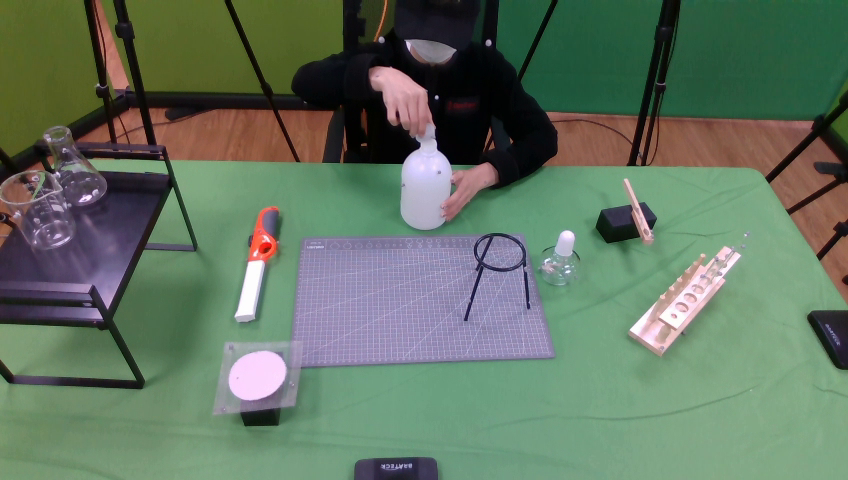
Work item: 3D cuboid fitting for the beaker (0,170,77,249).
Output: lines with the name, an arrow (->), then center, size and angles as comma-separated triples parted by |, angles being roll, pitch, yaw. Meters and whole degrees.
beaker -> -0.562, -0.042, 0.894 | 0.084, 0.101, 0.073 | -2, 47, -7

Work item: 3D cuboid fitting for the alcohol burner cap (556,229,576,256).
alcohol burner cap -> 0.260, 0.002, 1.098 | 0.034, 0.048, 0.033 | 3, 40, -2

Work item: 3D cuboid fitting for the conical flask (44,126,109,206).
conical flask -> -0.554, -0.119, 0.953 | 0.075, 0.122, 0.075 | 2, 46, -2

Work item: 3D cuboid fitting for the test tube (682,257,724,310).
test tube -> 0.475, 0.080, 1.037 | 0.017, 0.151, 0.017 | 2, 51, -2

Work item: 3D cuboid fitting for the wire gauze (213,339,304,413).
wire gauze -> -0.250, 0.203, 0.925 | 0.121, 0.011, 0.124 | -1, 46, -3

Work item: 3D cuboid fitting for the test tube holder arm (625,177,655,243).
test tube holder arm -> 0.433, -0.063, 1.220 | 0.013, 0.015, 0.177 | 1, 47, -3

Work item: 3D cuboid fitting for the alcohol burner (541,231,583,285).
alcohol burner -> 0.258, 0.028, 1.123 | 0.078, 0.120, 0.077 | 1, 48, -1

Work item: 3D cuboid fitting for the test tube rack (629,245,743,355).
test tube rack -> 0.474, 0.095, 1.091 | 0.242, 0.085, 0.066 | -34, 56, -31

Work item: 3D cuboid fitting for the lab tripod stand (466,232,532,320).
lab tripod stand -> 0.125, 0.059, 1.065 | 0.148, 0.132, 0.147 | 1, 45, 0

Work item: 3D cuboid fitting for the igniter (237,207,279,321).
igniter -> -0.309, 0.036, 1.136 | 0.057, 0.025, 0.274 | -7, 45, 5

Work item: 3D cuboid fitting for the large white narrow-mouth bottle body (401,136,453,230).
large white narrow-mouth bottle body -> 0.006, -0.119, 1.191 | 0.102, 0.195, 0.101 | 2, 46, -2

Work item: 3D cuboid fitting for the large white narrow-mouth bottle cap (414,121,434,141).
large white narrow-mouth bottle cap -> 0.000, -0.198, 1.100 | 0.038, 0.024, 0.037 | 2, 46, -2

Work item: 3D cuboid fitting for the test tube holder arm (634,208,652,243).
test tube holder arm -> 0.428, -0.030, 1.189 | 0.010, 0.015, 0.087 | 1, 47, -2

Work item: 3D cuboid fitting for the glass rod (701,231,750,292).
glass rod -> 0.519, 0.045, 1.050 | 0.008, 0.201, 0.008 | 0, 55, 0
